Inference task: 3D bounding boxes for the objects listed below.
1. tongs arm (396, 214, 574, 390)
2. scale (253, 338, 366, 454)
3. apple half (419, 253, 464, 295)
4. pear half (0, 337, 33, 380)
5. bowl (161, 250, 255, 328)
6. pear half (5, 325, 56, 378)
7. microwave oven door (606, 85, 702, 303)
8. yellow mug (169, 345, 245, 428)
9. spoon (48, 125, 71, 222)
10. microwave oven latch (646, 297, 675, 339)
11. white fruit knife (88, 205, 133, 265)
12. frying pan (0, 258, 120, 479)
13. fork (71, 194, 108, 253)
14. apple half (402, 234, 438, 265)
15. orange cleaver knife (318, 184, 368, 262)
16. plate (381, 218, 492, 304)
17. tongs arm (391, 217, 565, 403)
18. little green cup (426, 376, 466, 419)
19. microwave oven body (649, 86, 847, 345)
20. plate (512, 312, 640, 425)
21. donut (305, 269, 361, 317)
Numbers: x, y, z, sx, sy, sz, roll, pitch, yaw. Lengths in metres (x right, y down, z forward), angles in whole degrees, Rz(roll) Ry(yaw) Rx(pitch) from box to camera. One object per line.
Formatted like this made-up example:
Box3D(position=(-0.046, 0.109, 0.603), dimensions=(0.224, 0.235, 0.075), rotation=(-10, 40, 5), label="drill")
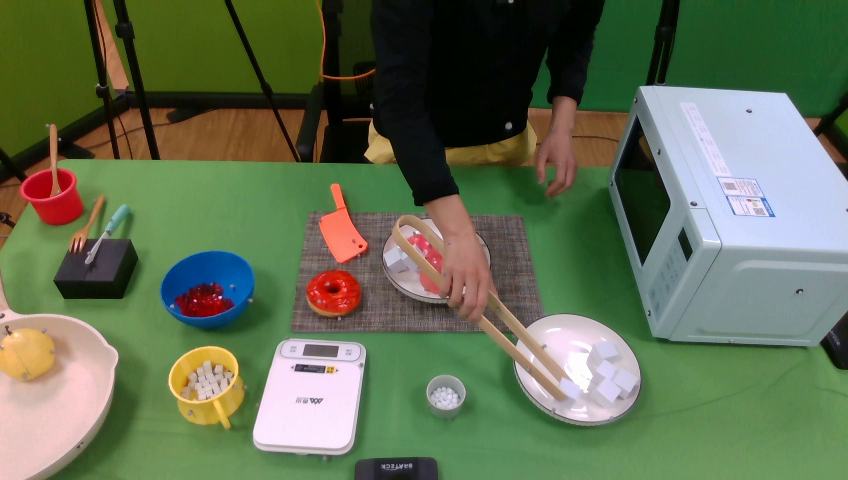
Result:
Box3D(position=(0.092, 0.100, 0.978), dimensions=(0.051, 0.026, 0.383), rotation=(-32, 75, -39), label="tongs arm")
Box3D(position=(-0.175, 0.236, 0.951), dimensions=(0.149, 0.032, 0.199), rotation=(4, 46, -1), label="scale")
Box3D(position=(0.035, 0.056, 1.109), dimensions=(0.074, 0.053, 0.081), rotation=(37, 55, 25), label="apple half")
Box3D(position=(-0.631, 0.184, 0.921), dimensions=(0.070, 0.088, 0.031), rotation=(29, 49, 19), label="pear half")
Box3D(position=(-0.362, 0.098, 1.039), dimensions=(0.151, 0.077, 0.150), rotation=(2, 45, -2), label="bowl")
Box3D(position=(-0.608, 0.158, 0.935), dimensions=(0.076, 0.110, 0.056), rotation=(31, 51, 20), label="pear half")
Box3D(position=(0.423, -0.094, 1.140), dimensions=(0.039, 0.245, 0.353), rotation=(2, 46, -1), label="microwave oven door")
Box3D(position=(-0.322, 0.230, 0.922), dimensions=(0.100, 0.064, 0.130), rotation=(-24, 53, -25), label="yellow mug")
Box3D(position=(-0.718, -0.131, 1.188), dimensions=(0.041, 0.021, 0.193), rotation=(-3, 90, -7), label="spoon")
Box3D(position=(0.412, 0.134, 1.061), dimensions=(0.030, 0.029, 0.078), rotation=(4, 45, 1), label="microwave oven latch")
Box3D(position=(-0.584, -0.013, 1.129), dimensions=(0.016, 0.027, 0.206), rotation=(0, 32, -5), label="white fruit knife")
Box3D(position=(-0.647, 0.164, 0.936), dimensions=(0.307, 0.103, 0.485), rotation=(-19, 58, -22), label="frying pan")
Box3D(position=(-0.634, -0.036, 1.158), dimensions=(0.028, 0.019, 0.206), rotation=(-8, 31, -8), label="fork")
Box3D(position=(-0.004, 0.014, 1.159), dimensions=(0.081, 0.033, 0.081), rotation=(5, 44, -5), label="apple half")
Box3D(position=(-0.173, -0.037, 1.219), dimensions=(0.077, 0.012, 0.210), rotation=(-16, 50, -12), label="orange cleaver knife")
Box3D(position=(0.023, 0.042, 1.143), dimensions=(0.209, 0.038, 0.208), rotation=(2, 46, -2), label="plate")
Box3D(position=(0.078, 0.110, 0.963), dimensions=(0.386, 0.028, 0.028), rotation=(45, 53, 8), label="tongs arm")
Box3D(position=(0.033, 0.248, 0.950), dimensions=(0.061, 0.039, 0.061), rotation=(2, 46, -2), label="little green cup")
Box3D(position=(0.567, -0.053, 1.118), dimensions=(0.326, 0.261, 0.439), rotation=(2, 45, -1), label="microwave oven body")
Box3D(position=(0.246, 0.213, 0.999), dimensions=(0.208, 0.039, 0.206), rotation=(2, 46, -2), label="plate")
Box3D(position=(-0.160, 0.094, 1.075), dimensions=(0.099, 0.048, 0.098), rotation=(4, 46, -4), label="donut")
